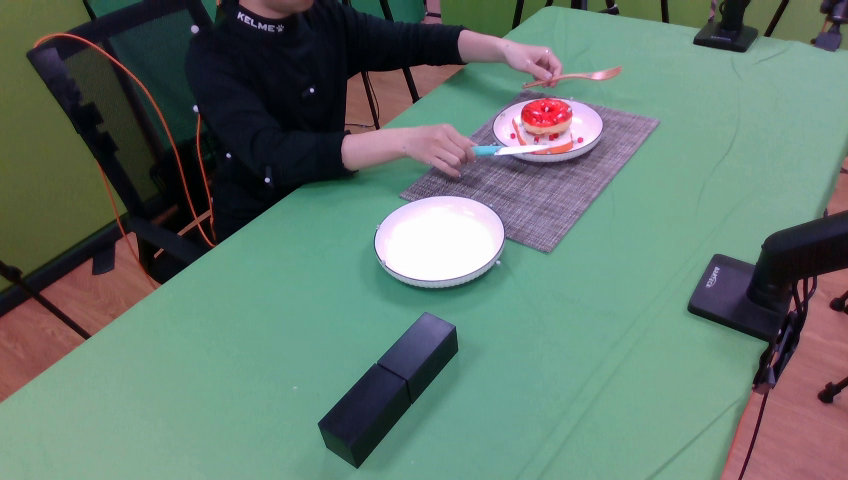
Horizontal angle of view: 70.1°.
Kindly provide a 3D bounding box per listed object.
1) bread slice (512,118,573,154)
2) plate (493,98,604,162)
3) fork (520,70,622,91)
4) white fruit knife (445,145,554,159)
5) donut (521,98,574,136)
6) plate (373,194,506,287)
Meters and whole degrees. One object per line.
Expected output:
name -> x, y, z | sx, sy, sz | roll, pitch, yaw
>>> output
bread slice -> 0.232, -0.204, 1.160 | 0.105, 0.019, 0.131 | -8, 39, 1
plate -> 0.237, -0.206, 1.158 | 0.209, 0.038, 0.208 | -4, 40, 4
fork -> 0.291, -0.319, 1.214 | 0.206, 0.018, 0.028 | 1, 6, 30
white fruit knife -> 0.129, -0.156, 1.055 | 0.206, 0.016, 0.027 | 2, 46, 35
donut -> 0.232, -0.232, 1.135 | 0.099, 0.048, 0.098 | -4, 41, 4
plate -> 0.025, 0.003, 0.951 | 0.207, 0.039, 0.206 | -4, 41, 4
